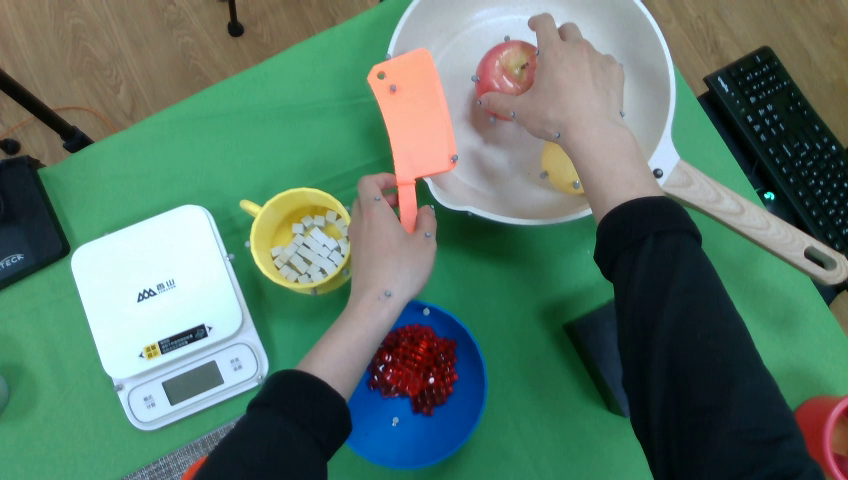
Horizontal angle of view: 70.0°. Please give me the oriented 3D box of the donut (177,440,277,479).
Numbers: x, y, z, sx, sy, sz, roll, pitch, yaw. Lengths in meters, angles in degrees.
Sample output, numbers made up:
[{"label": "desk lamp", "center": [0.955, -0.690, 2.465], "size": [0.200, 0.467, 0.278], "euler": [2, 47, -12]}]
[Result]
[{"label": "donut", "center": [-0.189, 0.242, 0.579], "size": [0.099, 0.048, 0.098], "euler": [0, 82, 1]}]

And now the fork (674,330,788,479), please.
[{"label": "fork", "center": [0.306, 0.174, 0.586], "size": [0.028, 0.018, 0.208], "euler": [-36, 98, -8]}]

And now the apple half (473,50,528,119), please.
[{"label": "apple half", "center": [0.071, -0.152, 0.628], "size": [0.033, 0.081, 0.081], "euler": [-35, 82, -11]}]

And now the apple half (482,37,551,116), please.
[{"label": "apple half", "center": [0.102, -0.175, 0.633], "size": [0.053, 0.075, 0.080], "euler": [-36, 79, -9]}]

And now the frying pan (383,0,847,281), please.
[{"label": "frying pan", "center": [0.188, -0.100, 0.611], "size": [0.485, 0.103, 0.306], "euler": [35, 83, 13]}]

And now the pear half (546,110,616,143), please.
[{"label": "pear half", "center": [0.163, -0.116, 0.616], "size": [0.070, 0.088, 0.031], "euler": [11, 84, 5]}]

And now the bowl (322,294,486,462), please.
[{"label": "bowl", "center": [-0.018, 0.130, 0.586], "size": [0.151, 0.077, 0.151], "euler": [0, 81, 0]}]

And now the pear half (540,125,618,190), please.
[{"label": "pear half", "center": [0.154, -0.082, 0.601], "size": [0.076, 0.110, 0.056], "euler": [9, 80, 6]}]

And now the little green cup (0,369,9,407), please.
[{"label": "little green cup", "center": [-0.450, 0.150, 0.601], "size": [0.061, 0.039, 0.061], "euler": [0, 80, 0]}]

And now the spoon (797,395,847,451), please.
[{"label": "spoon", "center": [0.423, 0.211, 0.540], "size": [0.041, 0.022, 0.191], "euler": [-32, 38, -6]}]

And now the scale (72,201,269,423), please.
[{"label": "scale", "center": [-0.258, 0.071, 0.618], "size": [0.149, 0.031, 0.200], "euler": [-23, 82, -3]}]

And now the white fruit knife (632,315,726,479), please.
[{"label": "white fruit knife", "center": [0.245, 0.162, 0.581], "size": [0.016, 0.027, 0.208], "euler": [-29, 96, -4]}]

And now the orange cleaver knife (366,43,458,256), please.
[{"label": "orange cleaver knife", "center": [-0.007, -0.091, 0.590], "size": [0.077, 0.012, 0.210], "euler": [-9, 81, -1]}]

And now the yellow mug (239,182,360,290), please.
[{"label": "yellow mug", "center": [-0.132, -0.009, 0.614], "size": [0.130, 0.064, 0.100], "euler": [30, 82, 6]}]
